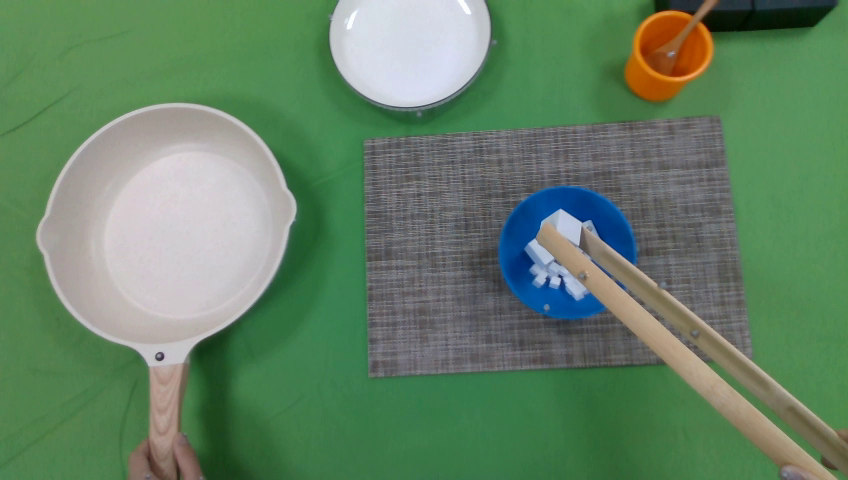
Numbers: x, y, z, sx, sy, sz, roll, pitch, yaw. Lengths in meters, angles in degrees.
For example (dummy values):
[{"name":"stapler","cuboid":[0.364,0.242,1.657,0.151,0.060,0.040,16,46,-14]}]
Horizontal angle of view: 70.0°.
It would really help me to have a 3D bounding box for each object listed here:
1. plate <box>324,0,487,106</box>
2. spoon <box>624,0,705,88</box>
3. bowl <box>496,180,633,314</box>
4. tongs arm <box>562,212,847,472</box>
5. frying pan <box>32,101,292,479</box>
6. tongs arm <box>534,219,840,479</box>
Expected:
[{"name":"plate","cuboid":[-0.024,-0.268,0.783,0.207,0.039,0.207,0,80,3]},{"name":"spoon","cuboid":[0.307,-0.261,0.710,0.041,0.194,0.021,46,40,13]},{"name":"bowl","cuboid":[0.155,0.013,0.699,0.151,0.077,0.150,0,80,3]},{"name":"tongs arm","cuboid":[0.255,0.100,0.542,0.051,0.027,0.381,-17,50,-41]},{"name":"frying pan","cuboid":[-0.295,0.078,0.699,0.307,0.103,0.484,-6,71,2]},{"name":"tongs arm","cuboid":[0.233,0.105,0.524,0.383,0.028,0.028,46,129,31]}]
